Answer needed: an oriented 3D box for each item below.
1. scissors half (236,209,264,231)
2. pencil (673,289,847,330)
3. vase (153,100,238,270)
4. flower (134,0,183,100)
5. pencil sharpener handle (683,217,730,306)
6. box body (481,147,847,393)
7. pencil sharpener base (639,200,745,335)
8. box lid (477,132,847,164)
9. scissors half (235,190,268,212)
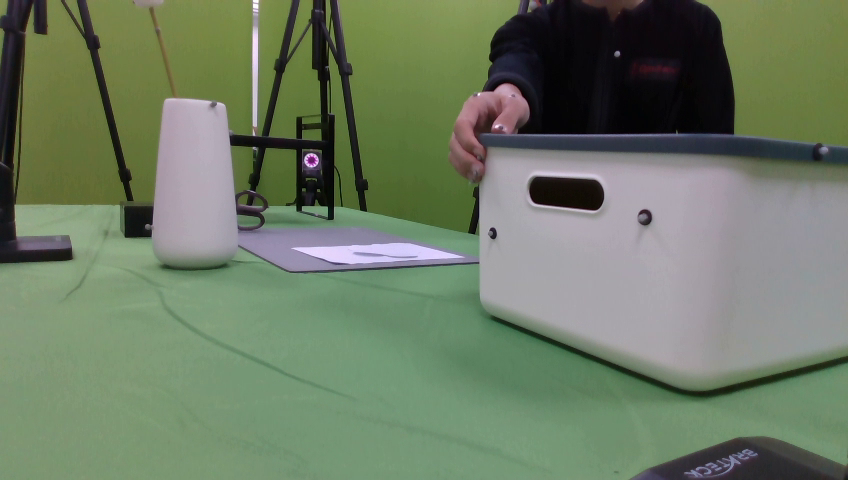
[{"bbox_3d":[-0.369,-0.051,1.065,0.176,0.040,0.012,19,15,-28],"label":"scissors half"},{"bbox_3d":[0.330,0.066,0.609,0.012,0.012,0.193,-1,6,-28],"label":"pencil"},{"bbox_3d":[-0.278,-0.066,0.736,0.098,0.200,0.098,2,9,0],"label":"vase"},{"bbox_3d":[-0.282,-0.147,0.713,0.038,0.362,0.044,-23,24,-31],"label":"flower"},{"bbox_3d":[0.225,0.017,0.476,0.036,0.067,0.030,7,9,6],"label":"pencil sharpener handle"},{"bbox_3d":[0.255,0.001,0.541,0.366,0.160,0.253,-2,9,-31],"label":"box body"},{"bbox_3d":[0.231,0.022,0.528,0.061,0.107,0.077,4,9,7],"label":"pencil sharpener base"},{"bbox_3d":[0.257,-0.072,0.531,0.373,0.015,0.262,-1,8,-31],"label":"box lid"},{"bbox_3d":[-0.363,-0.070,1.060,0.176,0.040,0.013,0,17,-23],"label":"scissors half"}]
